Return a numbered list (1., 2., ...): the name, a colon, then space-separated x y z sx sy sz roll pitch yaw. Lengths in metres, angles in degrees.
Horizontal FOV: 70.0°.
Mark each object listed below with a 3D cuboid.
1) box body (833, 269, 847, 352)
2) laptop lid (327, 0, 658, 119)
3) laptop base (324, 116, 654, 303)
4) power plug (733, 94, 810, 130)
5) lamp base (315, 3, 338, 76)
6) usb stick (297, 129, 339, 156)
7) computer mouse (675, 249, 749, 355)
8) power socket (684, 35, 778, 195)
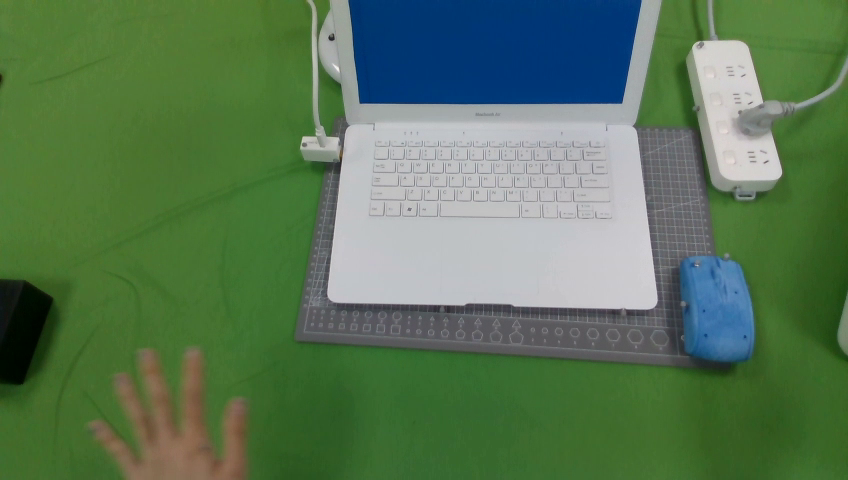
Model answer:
1. box body: 0.586 -0.013 0.578 0.253 0.161 0.362 25 68 14
2. laptop lid: 0.072 -0.235 0.666 0.356 0.244 0.013 -1 41 4
3. laptop base: 0.071 -0.040 0.695 0.354 0.023 0.234 1 68 3
4. power plug: 0.394 -0.140 0.694 0.072 0.053 0.035 11 64 6
5. lamp base: -0.076 -0.314 0.743 0.160 0.182 0.177 -33 64 -13
6. usb stick: -0.120 -0.116 0.725 0.059 0.027 0.021 5 60 3
7. computer mouse: 0.295 0.060 0.624 0.063 0.041 0.116 5 61 7
8. power socket: 0.366 -0.159 0.730 0.072 0.033 0.225 1 64 2
